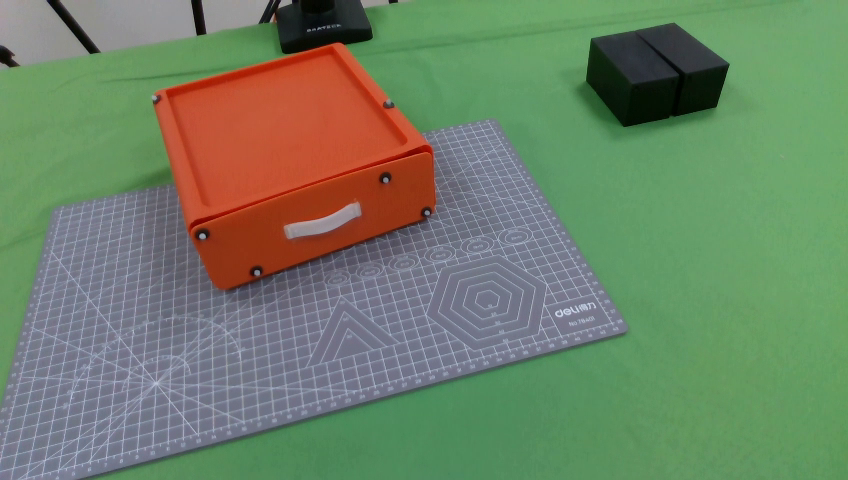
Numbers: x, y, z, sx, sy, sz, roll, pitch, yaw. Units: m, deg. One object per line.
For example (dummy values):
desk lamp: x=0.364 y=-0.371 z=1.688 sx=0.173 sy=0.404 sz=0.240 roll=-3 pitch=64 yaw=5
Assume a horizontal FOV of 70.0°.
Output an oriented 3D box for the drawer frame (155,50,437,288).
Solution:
drawer frame: x=-0.124 y=-0.076 z=0.560 sx=0.202 sy=0.083 sz=0.211 roll=-21 pitch=45 yaw=-16

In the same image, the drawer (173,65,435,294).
drawer: x=-0.121 y=-0.070 z=0.556 sx=0.195 sy=0.074 sz=0.209 roll=-21 pitch=45 yaw=-15

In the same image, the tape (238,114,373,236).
tape: x=-0.107 y=-0.061 z=0.550 sx=0.117 sy=0.053 sz=0.115 roll=-2 pitch=46 yaw=3
